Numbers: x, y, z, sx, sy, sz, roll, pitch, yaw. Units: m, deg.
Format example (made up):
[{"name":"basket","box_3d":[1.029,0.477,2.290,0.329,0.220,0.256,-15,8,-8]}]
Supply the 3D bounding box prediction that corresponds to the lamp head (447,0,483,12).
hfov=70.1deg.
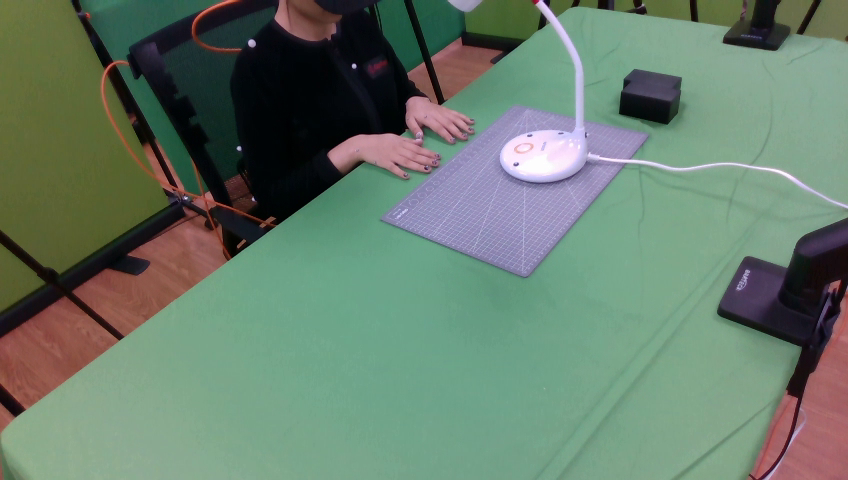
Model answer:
[{"name":"lamp head","box_3d":[0.084,-0.422,0.915,0.122,0.113,0.112,-21,31,36]}]

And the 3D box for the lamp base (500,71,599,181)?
[{"name":"lamp base","box_3d":[0.223,-0.217,1.068,0.179,0.181,0.160,2,42,10]}]
